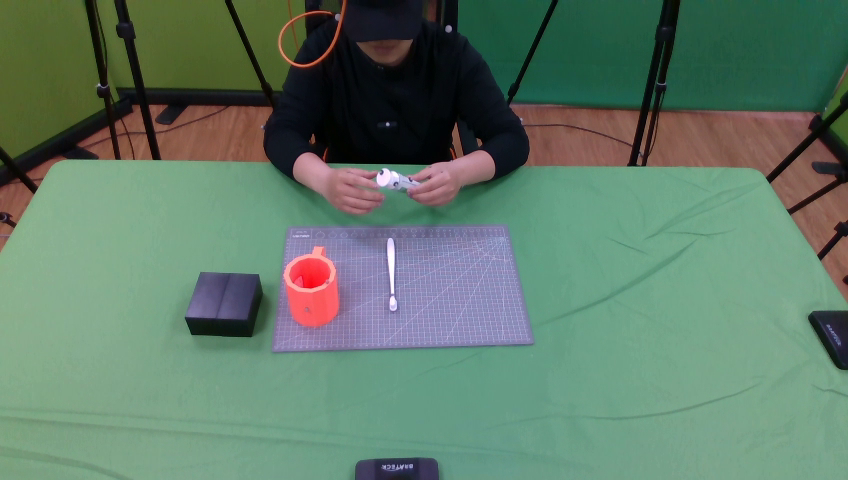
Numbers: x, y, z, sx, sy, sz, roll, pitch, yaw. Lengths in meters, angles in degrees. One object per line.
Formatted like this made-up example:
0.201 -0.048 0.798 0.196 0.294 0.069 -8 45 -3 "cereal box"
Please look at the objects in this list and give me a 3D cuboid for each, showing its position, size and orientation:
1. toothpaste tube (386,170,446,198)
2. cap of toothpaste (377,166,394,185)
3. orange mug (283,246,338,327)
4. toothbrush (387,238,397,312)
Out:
-0.024 -0.104 1.189 0.055 0.166 0.034 7 84 37 "toothpaste tube"
-0.072 -0.119 1.128 0.011 0.037 0.037 17 26 -52 "cap of toothpaste"
-0.192 0.074 1.056 0.083 0.101 0.125 5 50 1 "orange mug"
-0.061 0.059 1.136 0.014 0.017 0.180 -9 45 4 "toothbrush"
